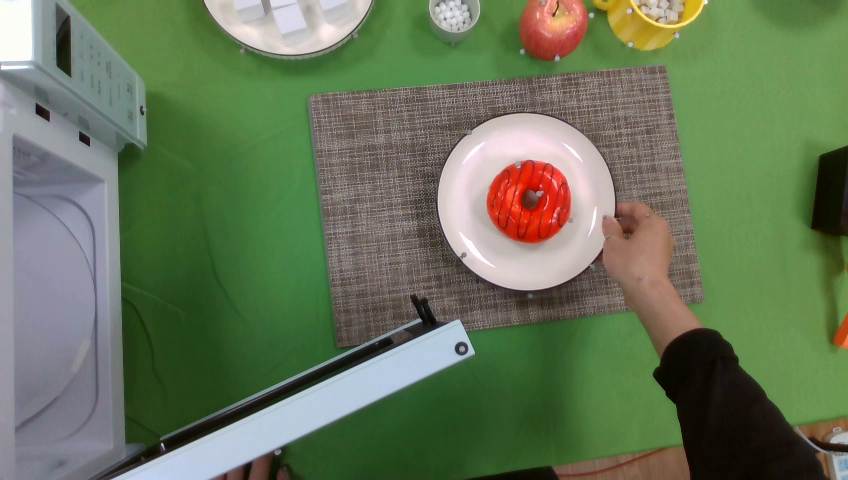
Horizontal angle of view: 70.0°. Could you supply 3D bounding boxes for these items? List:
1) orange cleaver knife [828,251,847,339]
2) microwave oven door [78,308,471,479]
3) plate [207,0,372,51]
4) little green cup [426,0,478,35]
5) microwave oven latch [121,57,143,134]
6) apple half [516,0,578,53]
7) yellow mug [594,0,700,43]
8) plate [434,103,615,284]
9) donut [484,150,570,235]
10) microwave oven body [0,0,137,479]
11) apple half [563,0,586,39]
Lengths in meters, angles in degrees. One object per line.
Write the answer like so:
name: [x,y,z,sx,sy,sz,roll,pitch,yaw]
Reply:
orange cleaver knife: [0.539,0.021,0.732,0.012,0.076,0.212,13,116,-2]
microwave oven door: [-0.138,0.151,0.556,0.356,0.244,0.039,-24,86,-7]
plate: [-0.158,-0.319,0.716,0.208,0.039,0.207,1,85,-6]
little green cup: [0.032,-0.281,0.732,0.061,0.038,0.061,1,85,-5]
microwave oven latch: [-0.326,-0.158,0.665,0.030,0.029,0.079,-2,86,-6]
apple half: [0.139,-0.259,0.724,0.053,0.074,0.081,-33,92,-3]
yellow mug: [0.266,-0.305,0.744,0.131,0.064,0.099,4,84,-5]
plate: [0.114,-0.053,0.705,0.209,0.038,0.208,0,87,-1]
donut: [0.118,-0.054,0.694,0.099,0.048,0.099,0,90,1]
microwave oven body: [-0.452,0.017,0.540,0.326,0.260,0.440,-4,86,-7]
apple half: [0.171,-0.281,0.728,0.033,0.081,0.081,-34,88,-3]
